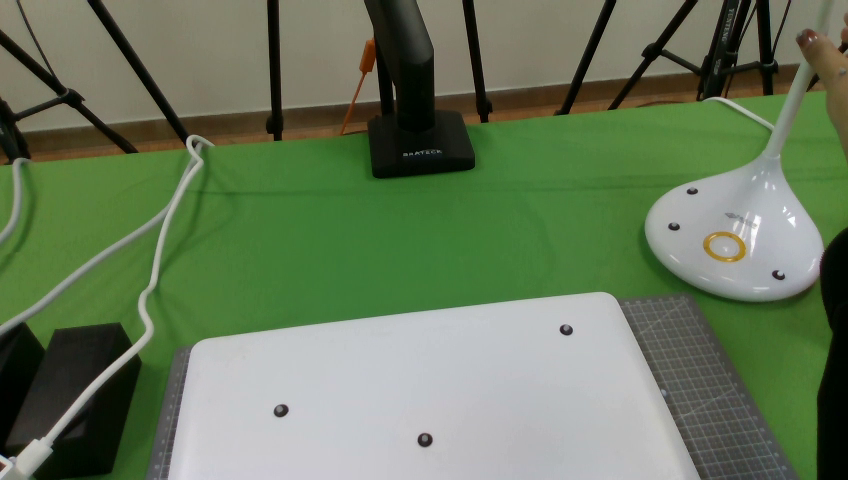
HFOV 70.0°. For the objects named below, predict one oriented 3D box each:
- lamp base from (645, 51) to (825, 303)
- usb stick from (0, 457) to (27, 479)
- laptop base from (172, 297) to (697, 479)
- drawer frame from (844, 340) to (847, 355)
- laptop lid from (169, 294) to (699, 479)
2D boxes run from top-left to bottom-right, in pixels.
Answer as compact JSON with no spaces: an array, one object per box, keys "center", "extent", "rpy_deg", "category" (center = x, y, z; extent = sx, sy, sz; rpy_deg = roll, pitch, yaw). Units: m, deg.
[{"center":[0.298,-0.065,0.539],"extent":[0.159,0.182,0.178],"rpy_deg":[20,45,24],"category":"lamp base"},{"center":[-0.262,0.158,0.376],"extent":[0.021,0.059,0.027],"rpy_deg":[23,45,10],"category":"usb stick"},{"center":[0.002,0.151,0.432],"extent":[0.355,0.023,0.233],"rpy_deg":[-6,46,-5],"category":"laptop base"},{"center":[0.477,0.057,0.469],"extent":[0.200,0.083,0.213],"rpy_deg":[30,51,31],"category":"drawer frame"},{"center":[0.002,0.144,0.422],"extent":[0.357,0.013,0.239],"rpy_deg":[-5,44,-3],"category":"laptop lid"}]
